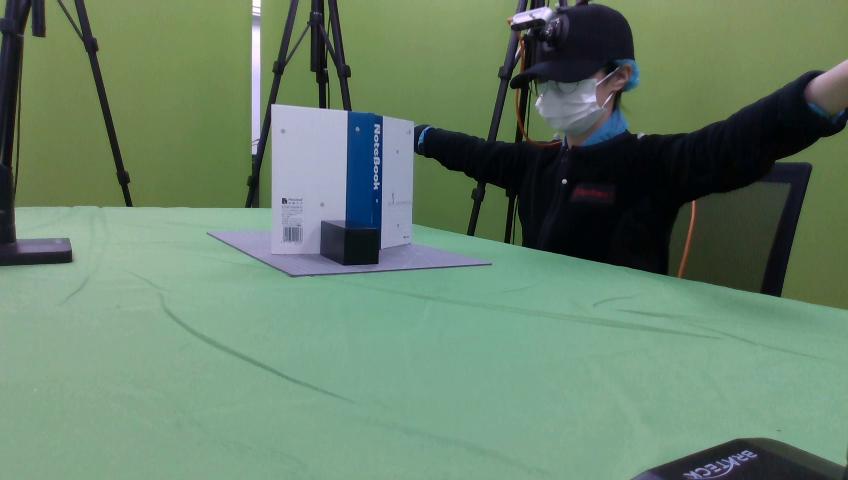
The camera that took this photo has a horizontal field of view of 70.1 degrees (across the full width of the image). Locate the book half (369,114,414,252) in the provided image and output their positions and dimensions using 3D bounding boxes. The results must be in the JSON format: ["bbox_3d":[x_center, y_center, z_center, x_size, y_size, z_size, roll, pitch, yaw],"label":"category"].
[{"bbox_3d":[-0.053,-0.092,0.974,0.007,0.210,0.144,4,7,27],"label":"book half"}]

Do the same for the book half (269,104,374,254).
[{"bbox_3d":[-0.148,-0.084,0.877,0.149,0.210,0.016,0,7,-22],"label":"book half"}]
